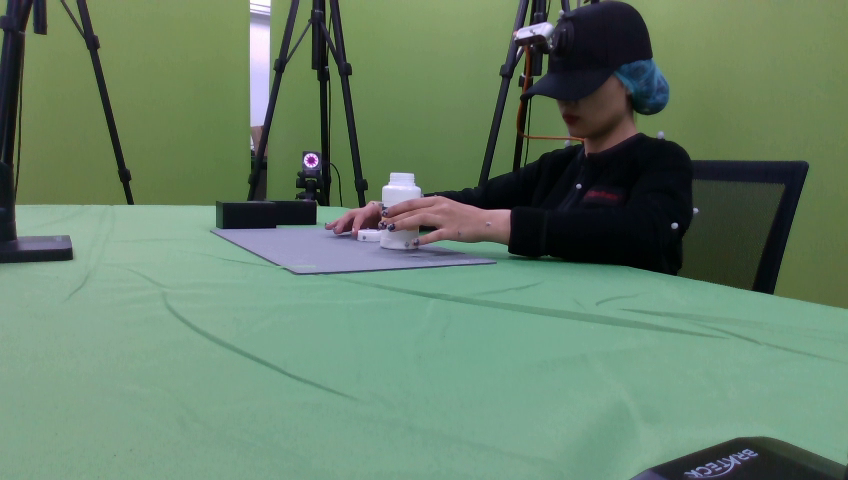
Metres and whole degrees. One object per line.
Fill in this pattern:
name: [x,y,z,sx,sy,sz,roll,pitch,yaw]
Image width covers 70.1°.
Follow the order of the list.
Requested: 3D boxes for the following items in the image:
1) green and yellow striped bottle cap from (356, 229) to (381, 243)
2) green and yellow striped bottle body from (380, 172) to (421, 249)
green and yellow striped bottle cap: [-0.094,-0.008,1.040,0.045,0.020,0.045,3,6,0]
green and yellow striped bottle body: [-0.037,-0.048,0.959,0.063,0.119,0.063,3,7,0]
